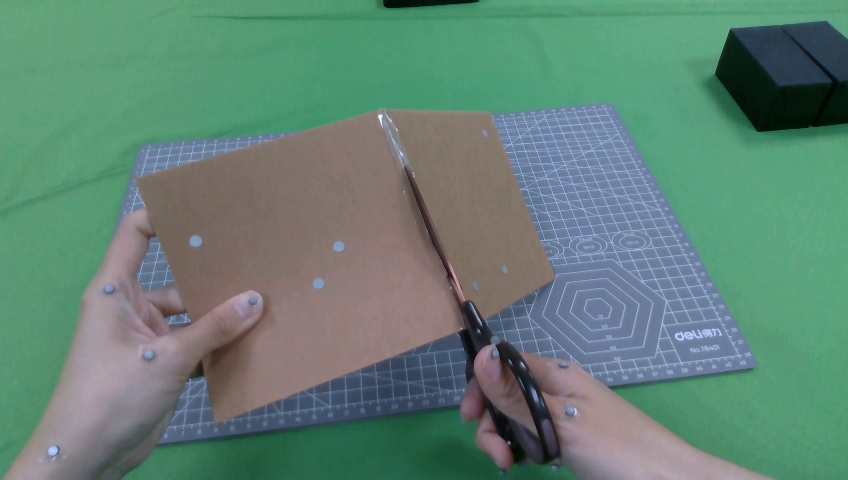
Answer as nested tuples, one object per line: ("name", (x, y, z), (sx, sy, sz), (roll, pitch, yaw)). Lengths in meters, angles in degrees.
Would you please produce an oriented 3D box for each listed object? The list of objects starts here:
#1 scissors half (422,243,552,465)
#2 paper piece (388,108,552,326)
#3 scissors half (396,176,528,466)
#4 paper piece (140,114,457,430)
("scissors half", (0.018, 0.035, 0.319), (0.013, 0.040, 0.173), (-24, 56, -10))
("paper piece", (0.036, -0.020, 0.396), (0.008, 0.136, 0.138), (-17, 0, 34))
("scissors half", (0.018, 0.044, 0.341), (0.013, 0.040, 0.175), (-23, 89, -14))
("paper piece", (-0.062, 0.013, 0.325), (0.136, 0.004, 0.135), (-19, 90, -15))
